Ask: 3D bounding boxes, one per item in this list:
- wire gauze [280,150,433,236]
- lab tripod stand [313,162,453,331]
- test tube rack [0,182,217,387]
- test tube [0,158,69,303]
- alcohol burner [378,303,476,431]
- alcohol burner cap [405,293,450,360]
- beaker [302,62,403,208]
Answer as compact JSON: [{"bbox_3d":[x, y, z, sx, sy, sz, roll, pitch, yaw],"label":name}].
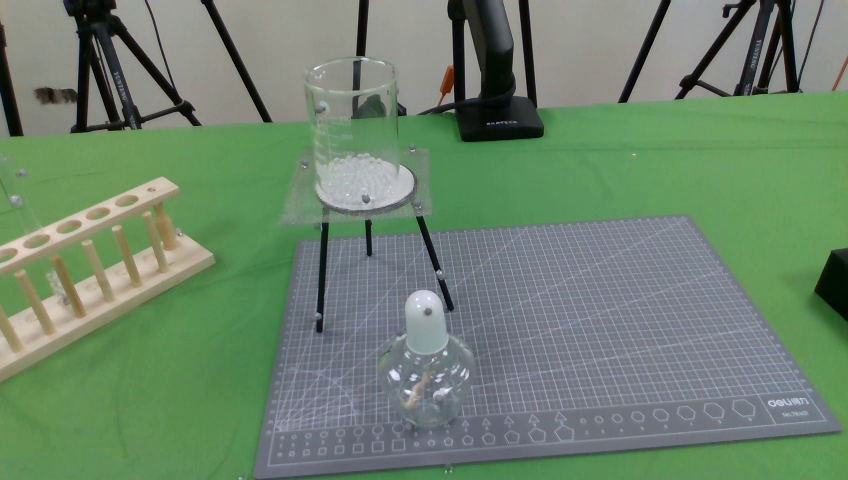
[{"bbox_3d":[-0.054,-0.046,0.522,0.121,0.011,0.124,-2,38,0],"label":"wire gauze"},{"bbox_3d":[-0.044,0.005,0.563,0.148,0.132,0.147,0,35,1],"label":"lab tripod stand"},{"bbox_3d":[-0.331,0.038,0.580,0.066,0.086,0.242,27,45,34],"label":"test tube rack"},{"bbox_3d":[-0.356,-0.004,0.554,0.017,0.151,0.017,-3,31,2],"label":"test tube"},{"bbox_3d":[0.002,0.089,0.463,0.078,0.120,0.077,-1,38,1],"label":"alcohol burner"},{"bbox_3d":[0.002,0.060,0.442,0.034,0.048,0.033,-4,36,3],"label":"alcohol burner cap"},{"bbox_3d":[-0.058,-0.084,0.491,0.083,0.101,0.074,24,42,29],"label":"beaker"}]
